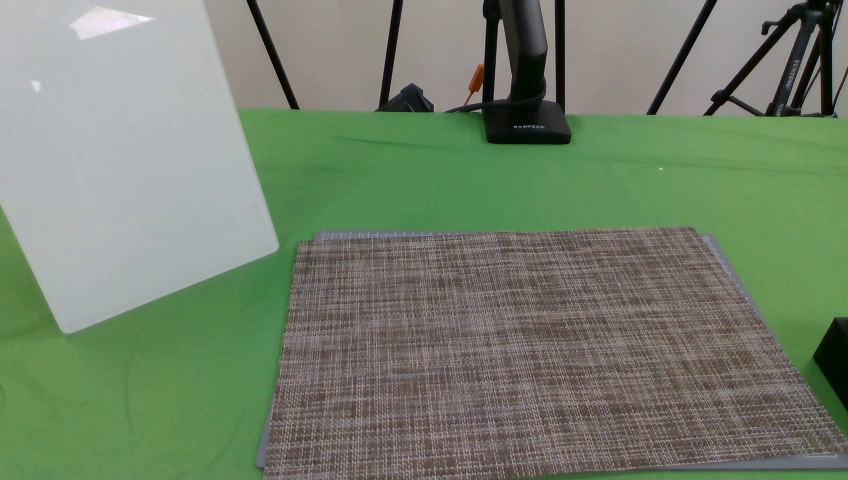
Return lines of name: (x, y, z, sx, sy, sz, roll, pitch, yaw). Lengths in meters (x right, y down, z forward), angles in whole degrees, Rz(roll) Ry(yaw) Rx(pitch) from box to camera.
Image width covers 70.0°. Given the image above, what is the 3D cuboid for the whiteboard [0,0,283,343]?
whiteboard: (-0.305, -0.097, 0.599, 0.217, 0.307, 0.142, -24, 24, -29)
